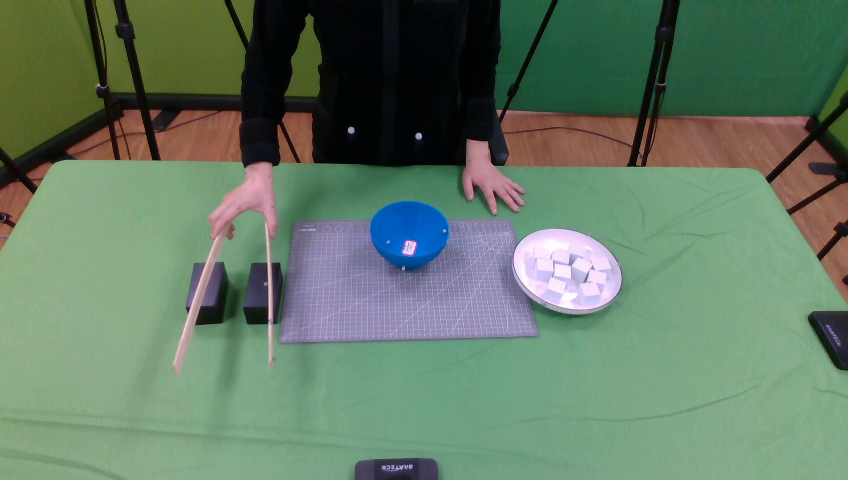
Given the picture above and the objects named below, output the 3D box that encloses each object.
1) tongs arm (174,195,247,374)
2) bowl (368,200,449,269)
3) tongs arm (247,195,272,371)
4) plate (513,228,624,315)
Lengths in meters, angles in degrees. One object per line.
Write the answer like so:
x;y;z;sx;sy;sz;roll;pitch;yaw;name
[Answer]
-0.350;0.055;1.005;0.028;0.028;0.385;0;43;0;tongs arm
-0.031;0.002;1.151;0.151;0.077;0.150;2;46;-2;bowl
-0.279;0.054;1.016;0.051;0.026;0.382;-4;44;-9;tongs arm
0.268;0.063;1.146;0.208;0.039;0.206;3;46;-3;plate
